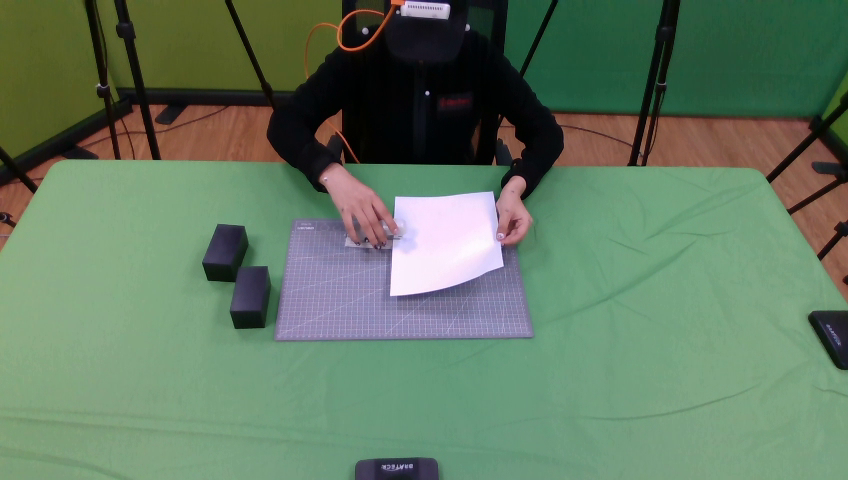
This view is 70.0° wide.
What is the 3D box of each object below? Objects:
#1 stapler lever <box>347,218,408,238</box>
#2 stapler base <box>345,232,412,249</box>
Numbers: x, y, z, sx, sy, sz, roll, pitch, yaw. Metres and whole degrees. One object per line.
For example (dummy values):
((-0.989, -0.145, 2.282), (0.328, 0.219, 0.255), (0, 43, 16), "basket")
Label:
((-0.091, -0.023, 1.173), (0.118, 0.040, 0.026), (2, 45, 0), "stapler lever")
((-0.090, -0.007, 1.192), (0.130, 0.024, 0.041), (1, 45, 0), "stapler base")
